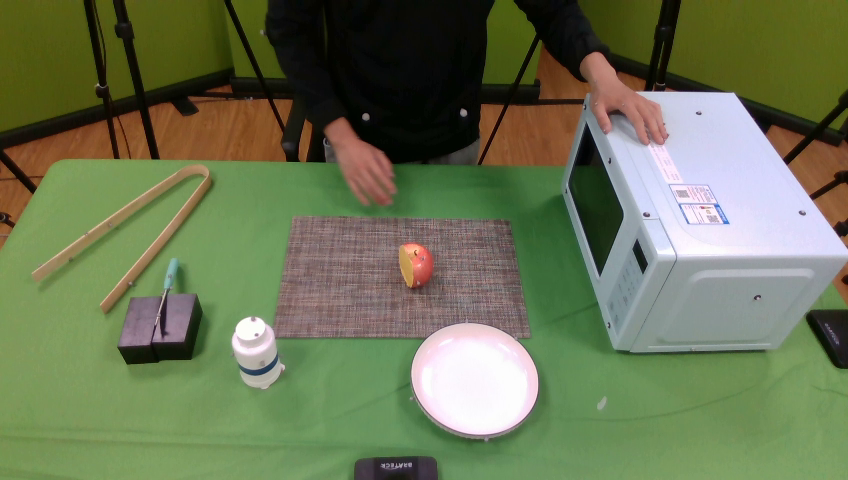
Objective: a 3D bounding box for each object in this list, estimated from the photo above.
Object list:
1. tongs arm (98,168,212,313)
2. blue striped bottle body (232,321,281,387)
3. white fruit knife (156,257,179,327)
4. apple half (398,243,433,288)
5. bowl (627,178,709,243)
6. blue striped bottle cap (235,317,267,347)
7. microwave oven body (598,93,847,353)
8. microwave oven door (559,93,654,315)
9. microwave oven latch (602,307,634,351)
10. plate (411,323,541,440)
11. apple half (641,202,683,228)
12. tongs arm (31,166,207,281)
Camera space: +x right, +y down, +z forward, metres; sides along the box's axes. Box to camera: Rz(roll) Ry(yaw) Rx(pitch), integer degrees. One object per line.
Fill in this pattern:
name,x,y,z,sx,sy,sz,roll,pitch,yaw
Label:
tongs arm,-0.504,-0.012,1.167,0.028,0.028,0.385,11,46,11
blue striped bottle body,-0.262,0.171,0.944,0.063,0.121,0.062,2,46,-2
white fruit knife,-0.440,0.085,1.037,0.016,0.027,0.206,10,26,-19
apple half,-0.012,0.046,1.115,0.053,0.075,0.080,-11,44,-20
bowl,0.456,-0.047,1.167,0.151,0.077,0.150,7,36,-5
blue striped bottle cap,-0.259,0.137,0.907,0.044,0.021,0.044,3,43,-2
microwave oven body,0.475,-0.041,1.110,0.326,0.261,0.438,-1,45,-4
microwave oven door,0.327,-0.074,1.123,0.039,0.245,0.353,-1,46,-5
microwave oven latch,0.332,0.153,1.044,0.030,0.029,0.078,-1,45,-4
plate,0.082,0.228,0.976,0.208,0.039,0.206,2,45,-2
apple half,0.458,-0.054,1.160,0.081,0.033,0.081,-1,31,1
tongs arm,-0.578,-0.040,1.184,0.050,0.026,0.384,23,48,17
